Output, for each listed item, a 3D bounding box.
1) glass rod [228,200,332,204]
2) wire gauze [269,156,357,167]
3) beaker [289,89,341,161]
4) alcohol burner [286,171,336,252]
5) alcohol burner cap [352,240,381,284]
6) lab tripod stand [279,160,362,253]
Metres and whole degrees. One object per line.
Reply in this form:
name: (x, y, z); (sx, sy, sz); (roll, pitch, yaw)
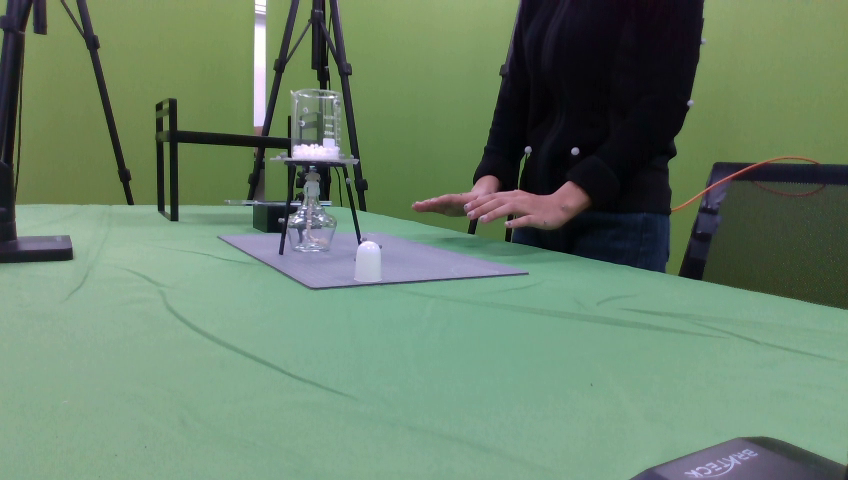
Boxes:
glass rod: (-0.270, -0.072, 1.149); (0.201, 0.008, 0.008); (-1, 8, -30)
wire gauze: (-0.159, -0.116, 0.886); (0.122, 0.011, 0.125); (2, 4, -9)
beaker: (-0.161, -0.164, 0.879); (0.073, 0.100, 0.084); (6, 8, 34)
alcohol burner: (-0.170, -0.043, 0.898); (0.078, 0.119, 0.078); (2, 5, 0)
alcohol burner cap: (-0.065, 0.023, 0.690); (0.034, 0.048, 0.034); (3, 9, 0)
lab tripod stand: (-0.166, -0.052, 0.897); (0.148, 0.131, 0.148); (0, 7, 0)
